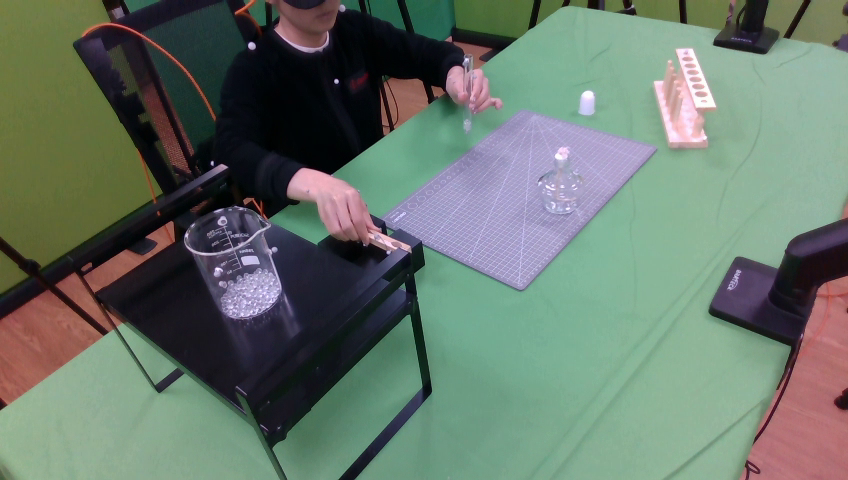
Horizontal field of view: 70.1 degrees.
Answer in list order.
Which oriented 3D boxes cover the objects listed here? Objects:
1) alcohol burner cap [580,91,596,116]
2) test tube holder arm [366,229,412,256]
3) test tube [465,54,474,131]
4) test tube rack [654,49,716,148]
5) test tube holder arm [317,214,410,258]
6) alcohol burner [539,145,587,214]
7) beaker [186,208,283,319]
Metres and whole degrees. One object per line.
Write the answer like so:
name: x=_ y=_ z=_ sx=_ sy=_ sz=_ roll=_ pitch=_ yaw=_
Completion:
alcohol burner cap: x=0.338 y=-0.283 z=1.238 sx=0.034 sy=0.048 sz=0.033 roll=-5 pitch=42 yaw=5
test tube holder arm: x=-0.055 y=0.004 z=0.896 sx=0.087 sy=0.015 sz=0.010 roll=22 pitch=35 yaw=30
test tube: x=0.080 y=-0.258 z=1.073 sx=0.017 sy=0.151 sz=0.017 roll=-1 pitch=46 yaw=2
test tube rack: x=0.502 y=-0.281 z=1.176 sx=0.066 sy=0.085 sz=0.241 roll=1 pitch=41 yaw=11
test tube holder arm: x=-0.095 y=-0.008 z=0.914 sx=0.177 sy=0.015 sz=0.013 roll=20 pitch=34 yaw=27
alcohol burner: x=0.226 y=-0.102 z=0.986 sx=0.078 sy=0.119 sz=0.077 roll=-6 pitch=41 yaw=6
beaker: x=-0.192 y=0.026 z=0.637 sx=0.084 sy=0.101 sz=0.073 roll=-13 pitch=41 yaw=-7
